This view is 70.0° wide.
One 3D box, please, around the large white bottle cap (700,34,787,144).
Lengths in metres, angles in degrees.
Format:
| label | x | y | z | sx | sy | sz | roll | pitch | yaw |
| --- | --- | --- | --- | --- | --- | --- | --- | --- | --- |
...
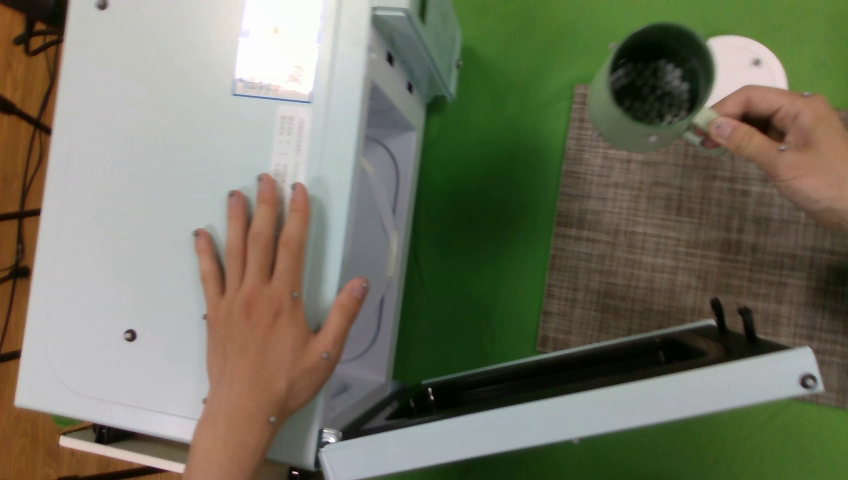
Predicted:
| label | x | y | z | sx | sy | sz | roll | pitch | yaw |
| --- | --- | --- | --- | --- | --- | --- | --- | --- | --- |
| large white bottle cap | 0.320 | -0.159 | 0.641 | 0.114 | 0.018 | 0.114 | -1 | 87 | 10 |

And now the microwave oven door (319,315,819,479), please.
| label | x | y | z | sx | sy | sz | roll | pitch | yaw |
| --- | --- | --- | --- | --- | --- | --- | --- | --- | --- |
| microwave oven door | 0.112 | 0.132 | 0.541 | 0.355 | 0.244 | 0.039 | -15 | 84 | 10 |

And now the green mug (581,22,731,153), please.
| label | x | y | z | sx | sy | sz | roll | pitch | yaw |
| --- | --- | --- | --- | --- | --- | --- | --- | --- | --- |
| green mug | 0.192 | -0.113 | 0.495 | 0.125 | 0.105 | 0.092 | 36 | 98 | 7 |

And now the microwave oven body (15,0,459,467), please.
| label | x | y | z | sx | sy | sz | roll | pitch | yaw |
| --- | --- | --- | --- | --- | --- | --- | --- | --- | --- |
| microwave oven body | -0.162 | -0.052 | 0.606 | 0.325 | 0.261 | 0.441 | 7 | 89 | 11 |

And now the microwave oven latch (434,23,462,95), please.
| label | x | y | z | sx | sy | sz | roll | pitch | yaw |
| --- | --- | --- | --- | --- | --- | --- | --- | --- | --- |
| microwave oven latch | 0.025 | -0.204 | 0.675 | 0.030 | 0.029 | 0.079 | 7 | 90 | 11 |
